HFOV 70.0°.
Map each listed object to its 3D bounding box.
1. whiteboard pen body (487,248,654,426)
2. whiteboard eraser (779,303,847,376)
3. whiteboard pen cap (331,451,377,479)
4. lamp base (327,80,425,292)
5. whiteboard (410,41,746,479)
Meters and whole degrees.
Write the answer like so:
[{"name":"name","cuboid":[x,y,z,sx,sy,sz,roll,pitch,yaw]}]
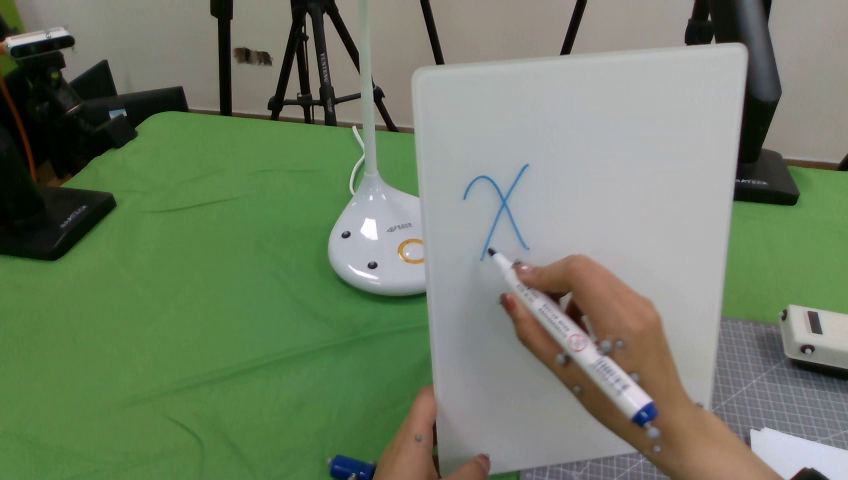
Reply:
[{"name":"whiteboard pen body","cuboid":[0.078,0.049,0.352,0.017,0.017,0.139,-22,51,-24]},{"name":"whiteboard eraser","cuboid":[0.378,0.093,0.533,0.112,0.042,0.055,11,41,15]},{"name":"whiteboard pen cap","cuboid":[-0.053,0.173,0.463,0.033,0.018,0.018,8,39,13]},{"name":"lamp base","cuboid":[-0.036,-0.064,0.634,0.161,0.182,0.177,-24,41,-27]},{"name":"whiteboard","cuboid":[0.102,0.009,0.483,0.217,0.307,0.143,-6,19,-5]}]
